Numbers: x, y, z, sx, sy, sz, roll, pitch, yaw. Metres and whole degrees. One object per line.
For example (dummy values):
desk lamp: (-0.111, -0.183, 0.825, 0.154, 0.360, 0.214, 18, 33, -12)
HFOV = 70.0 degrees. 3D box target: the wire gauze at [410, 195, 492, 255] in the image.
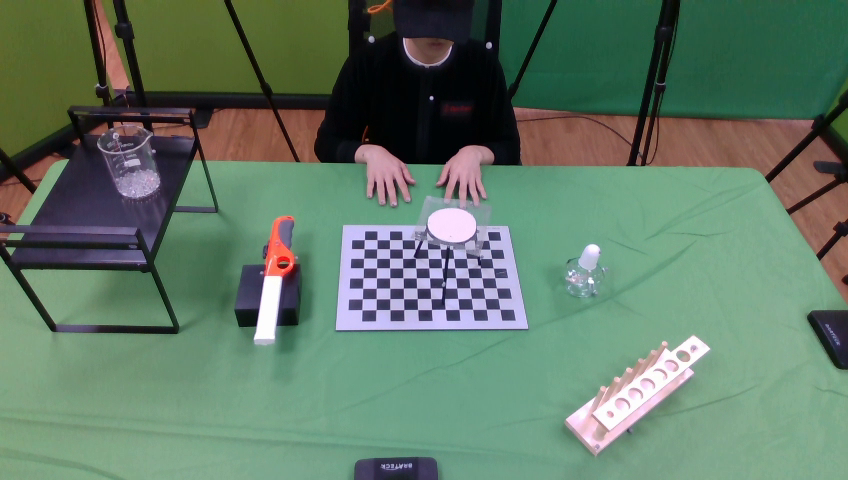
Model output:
wire gauze: (0.049, -0.031, 1.051, 0.125, 0.011, 0.121, 12, 47, 9)

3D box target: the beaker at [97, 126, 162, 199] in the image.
beaker: (-0.468, -0.124, 0.979, 0.084, 0.101, 0.073, -25, 53, -26)

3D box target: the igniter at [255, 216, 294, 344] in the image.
igniter: (-0.258, 0.059, 1.051, 0.057, 0.025, 0.274, 2, 47, -6)

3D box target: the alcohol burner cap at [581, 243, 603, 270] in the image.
alcohol burner cap: (0.302, 0.026, 1.082, 0.034, 0.048, 0.033, 4, 45, -4)

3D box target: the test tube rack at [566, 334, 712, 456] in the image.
test tube rack: (0.338, 0.228, 0.950, 0.242, 0.085, 0.066, -27, 52, -26)

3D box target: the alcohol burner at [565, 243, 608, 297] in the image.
alcohol burner: (0.299, 0.048, 1.103, 0.078, 0.119, 0.077, 3, 45, -3)

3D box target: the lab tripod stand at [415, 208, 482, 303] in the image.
lab tripod stand: (0.043, 0.018, 1.097, 0.148, 0.132, 0.147, 1, 46, 0)
